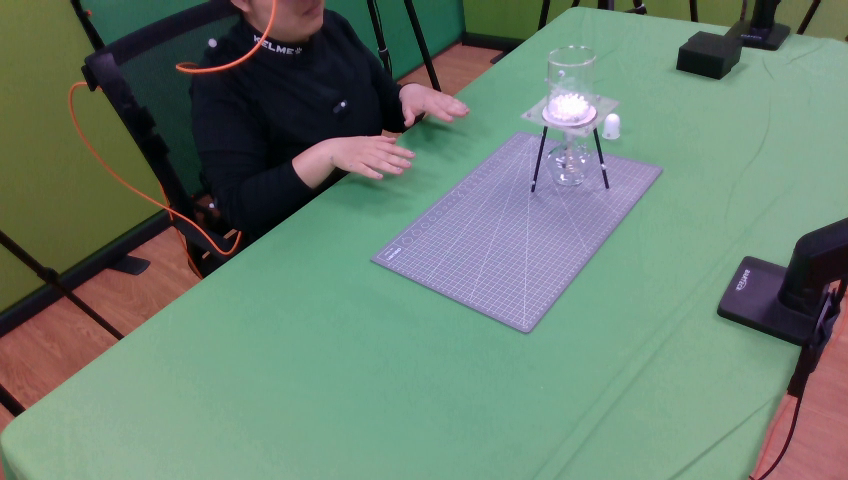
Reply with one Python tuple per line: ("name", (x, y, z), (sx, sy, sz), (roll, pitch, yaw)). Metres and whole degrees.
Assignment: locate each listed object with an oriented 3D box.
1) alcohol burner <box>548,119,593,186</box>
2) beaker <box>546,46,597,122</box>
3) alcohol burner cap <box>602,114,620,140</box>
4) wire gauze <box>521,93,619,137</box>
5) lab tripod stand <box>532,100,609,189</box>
("alcohol burner", (0.252, -0.154, 1.042), (0.078, 0.120, 0.077), (-7, 40, 7))
("beaker", (0.229, -0.246, 0.962), (0.083, 0.101, 0.074), (25, 49, 34))
("alcohol burner cap", (0.359, -0.217, 1.157), (0.034, 0.048, 0.033), (-7, 40, 6))
("wire gauze", (0.240, -0.212, 0.995), (0.124, 0.011, 0.122), (22, 46, 34))
("lab tripod stand", (0.251, -0.161, 1.034), (0.148, 0.132, 0.147), (-4, 39, 4))
